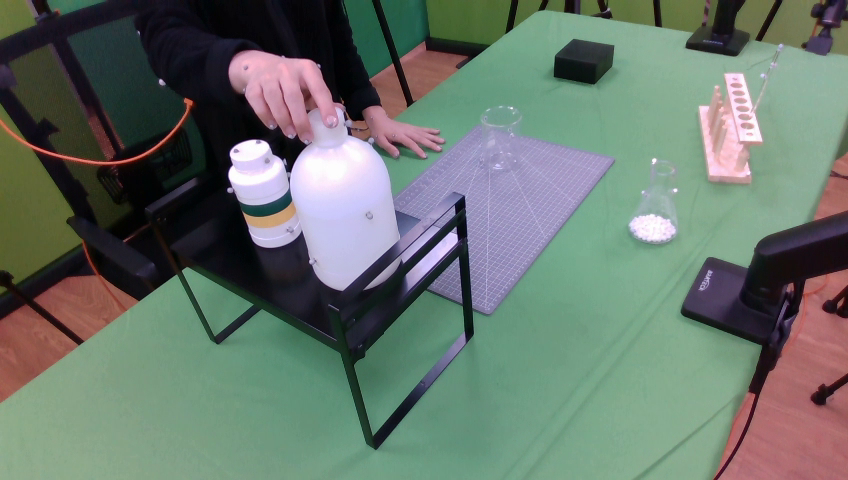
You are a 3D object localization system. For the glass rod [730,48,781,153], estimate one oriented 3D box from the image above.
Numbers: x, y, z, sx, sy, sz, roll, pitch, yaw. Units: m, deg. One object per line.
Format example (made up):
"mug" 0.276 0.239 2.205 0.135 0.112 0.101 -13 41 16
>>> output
"glass rod" 0.554 -0.228 1.015 0.008 0.200 0.008 1 44 -1

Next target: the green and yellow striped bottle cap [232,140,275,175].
"green and yellow striped bottle cap" -0.192 -0.094 0.680 0.045 0.020 0.045 -5 40 5

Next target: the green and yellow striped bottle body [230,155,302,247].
"green and yellow striped bottle body" -0.188 -0.055 0.714 0.063 0.120 0.063 -4 41 4

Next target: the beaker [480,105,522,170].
"beaker" 0.145 -0.187 1.112 0.084 0.101 0.073 -35 48 -29

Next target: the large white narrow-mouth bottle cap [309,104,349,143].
"large white narrow-mouth bottle cap" -0.090 -0.111 0.576 0.038 0.024 0.037 -3 39 3

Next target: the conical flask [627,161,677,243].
"conical flask" 0.355 -0.061 0.921 0.075 0.122 0.075 -4 41 4

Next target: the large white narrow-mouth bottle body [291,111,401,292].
"large white narrow-mouth bottle body" -0.084 -0.044 0.630 0.102 0.195 0.101 -3 40 3

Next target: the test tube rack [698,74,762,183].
"test tube rack" 0.547 -0.208 1.095 0.066 0.085 0.242 5 42 15
